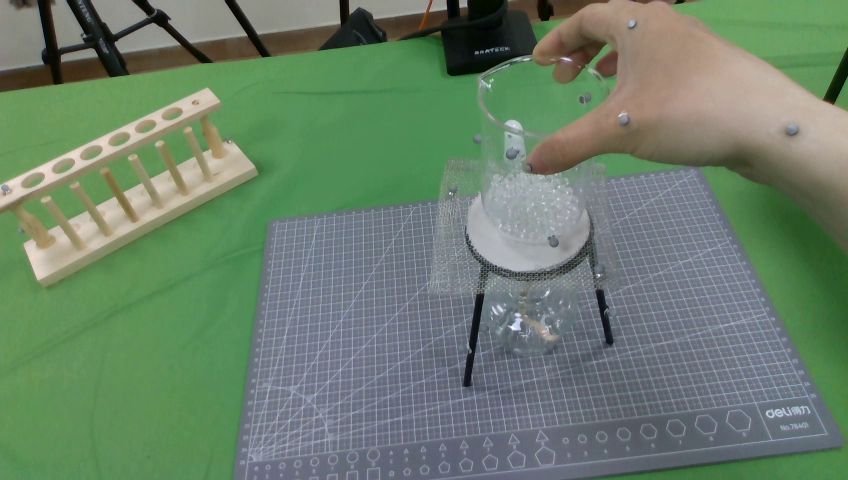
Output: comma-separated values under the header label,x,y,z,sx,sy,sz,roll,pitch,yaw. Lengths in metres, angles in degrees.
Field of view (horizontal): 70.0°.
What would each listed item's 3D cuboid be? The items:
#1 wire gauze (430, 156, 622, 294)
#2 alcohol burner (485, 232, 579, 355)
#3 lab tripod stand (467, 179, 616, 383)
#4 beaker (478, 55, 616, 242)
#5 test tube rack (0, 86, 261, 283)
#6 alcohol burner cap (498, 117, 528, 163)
label,x,y,z,sx,sy,sz,roll,pitch,yaw
wire gauze,0.070,-0.014,0.421,0.121,0.011,0.124,2,52,9
alcohol burner,0.084,0.038,0.478,0.078,0.120,0.077,-4,48,5
lab tripod stand,0.081,0.033,0.469,0.148,0.133,0.147,-3,52,5
beaker,0.070,-0.054,0.382,0.083,0.101,0.074,28,59,25
test tube rack,-0.305,-0.062,0.636,0.242,0.086,0.066,-32,53,-19
alcohol burner cap,0.096,-0.110,0.653,0.034,0.048,0.033,-4,50,5
